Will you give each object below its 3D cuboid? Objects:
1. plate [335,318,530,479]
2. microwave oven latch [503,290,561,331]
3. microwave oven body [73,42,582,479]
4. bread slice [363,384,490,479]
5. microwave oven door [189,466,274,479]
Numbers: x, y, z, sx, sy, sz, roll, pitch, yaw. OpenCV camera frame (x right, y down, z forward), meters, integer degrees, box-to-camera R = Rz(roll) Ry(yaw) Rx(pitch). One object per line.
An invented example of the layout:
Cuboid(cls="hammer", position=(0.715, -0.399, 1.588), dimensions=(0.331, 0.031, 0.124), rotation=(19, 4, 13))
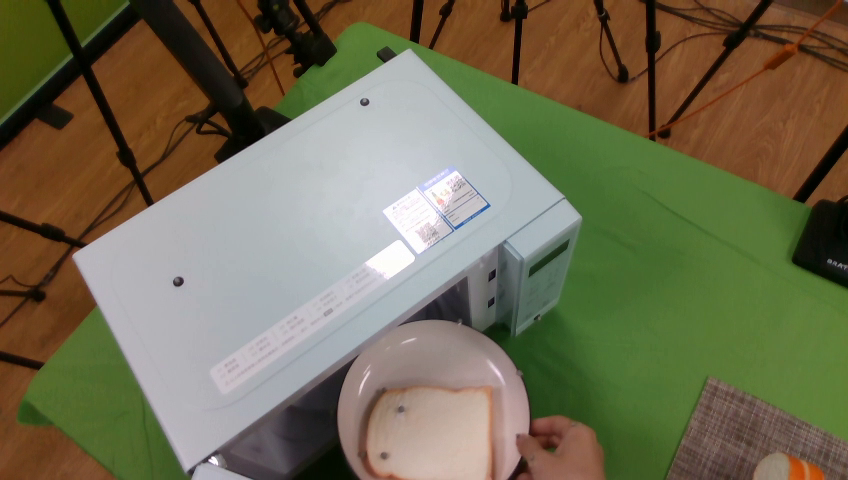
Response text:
Cuboid(cls="plate", position=(0.009, 0.187, 0.658), dimensions=(0.208, 0.039, 0.206), rotation=(0, 61, 1))
Cuboid(cls="microwave oven latch", position=(0.141, 0.083, 0.788), dimensions=(0.079, 0.030, 0.030), rotation=(-34, 65, -11))
Cuboid(cls="microwave oven body", position=(-0.098, 0.037, 0.724), dimensions=(0.441, 0.262, 0.323), rotation=(-36, 66, -12))
Cuboid(cls="bread slice", position=(0.003, 0.208, 0.645), dimensions=(0.134, 0.018, 0.106), rotation=(1, 59, 3))
Cuboid(cls="microwave oven door", position=(-0.022, 0.296, 0.580), dimensions=(0.354, 0.246, 0.039), rotation=(15, 65, 12))
